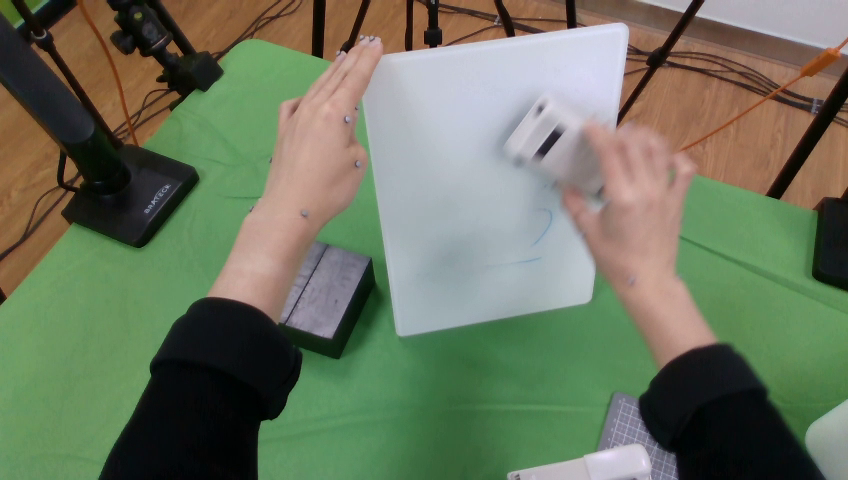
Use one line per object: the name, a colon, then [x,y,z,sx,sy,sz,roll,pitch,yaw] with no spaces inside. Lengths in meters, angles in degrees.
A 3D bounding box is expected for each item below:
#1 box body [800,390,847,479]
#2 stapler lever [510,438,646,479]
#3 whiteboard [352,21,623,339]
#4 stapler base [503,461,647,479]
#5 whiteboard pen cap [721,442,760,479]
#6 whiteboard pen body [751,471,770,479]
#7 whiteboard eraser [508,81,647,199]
box body: [0.523,0.235,0.460,0.254,0.162,0.360,-20,60,-13]
stapler lever: [0.136,0.201,0.533,0.118,0.040,0.026,-11,53,-3]
whiteboard: [0.051,-0.074,0.608,0.217,0.308,0.142,-9,39,-5]
stapler base: [0.139,0.215,0.553,0.130,0.024,0.041,-11,53,-3]
whiteboard pen cap: [0.294,0.206,0.561,0.018,0.018,0.033,-31,61,-18]
whiteboard pen body: [0.328,0.244,0.534,0.017,0.017,0.139,-32,61,-19]
whiteboard eraser: [0.129,-0.082,0.508,0.113,0.056,0.041,25,32,-26]
